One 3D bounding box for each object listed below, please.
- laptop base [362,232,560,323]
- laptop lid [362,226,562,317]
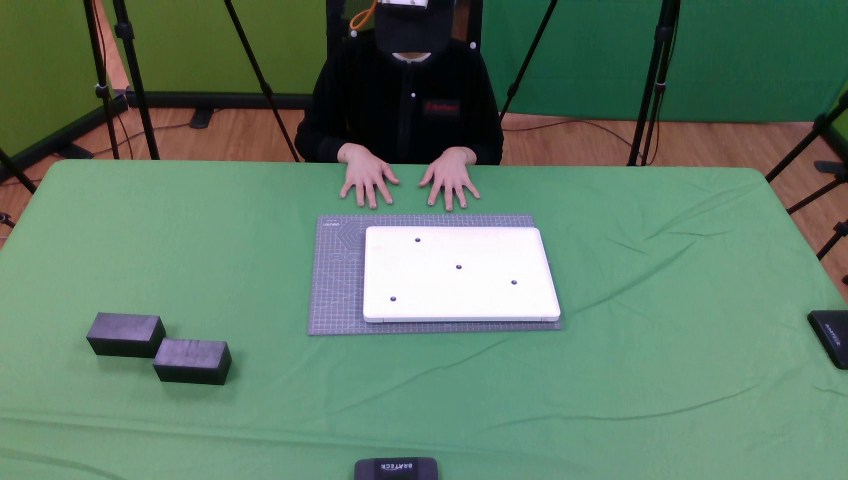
[{"bbox_3d":[0.064,0.063,1.143,0.355,0.023,0.234,0,42,-4],"label":"laptop base"},{"bbox_3d":[0.064,0.053,1.136,0.357,0.013,0.240,1,44,-3],"label":"laptop lid"}]
